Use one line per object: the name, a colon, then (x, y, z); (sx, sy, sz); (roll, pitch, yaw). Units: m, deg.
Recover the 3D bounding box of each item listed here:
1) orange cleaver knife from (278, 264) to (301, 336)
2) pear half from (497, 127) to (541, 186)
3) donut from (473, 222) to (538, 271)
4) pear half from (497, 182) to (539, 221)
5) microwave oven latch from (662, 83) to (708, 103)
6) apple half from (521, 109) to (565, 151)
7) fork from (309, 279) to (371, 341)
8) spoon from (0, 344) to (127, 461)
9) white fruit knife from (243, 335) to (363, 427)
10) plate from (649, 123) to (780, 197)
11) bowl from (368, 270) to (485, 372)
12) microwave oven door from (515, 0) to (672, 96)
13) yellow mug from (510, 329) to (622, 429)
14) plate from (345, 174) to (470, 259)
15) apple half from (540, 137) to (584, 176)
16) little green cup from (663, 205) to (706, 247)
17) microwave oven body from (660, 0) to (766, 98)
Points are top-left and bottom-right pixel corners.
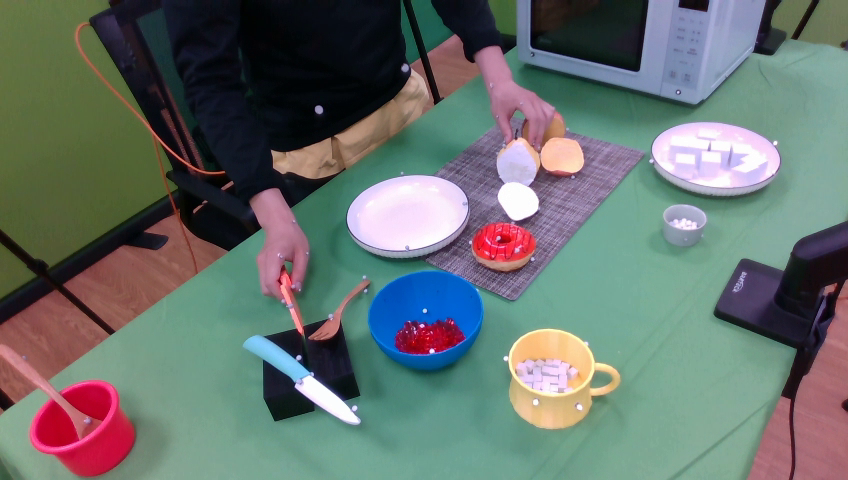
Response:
orange cleaver knife: (-0.188, 0.080, 0.846); (0.012, 0.077, 0.210); (-20, 14, -11)
pear half: (0.167, -0.152, 1.054); (0.076, 0.110, 0.056); (6, 39, 14)
donut: (0.123, 0.008, 0.923); (0.099, 0.048, 0.098); (-3, 38, 3)
pear half: (0.154, -0.057, 1.005); (0.070, 0.031, 0.088); (14, 52, 5)
microwave oven latch: (0.518, -0.296, 1.204); (0.078, 0.029, 0.030); (28, 52, 35)
apple half: (0.224, -0.212, 1.145); (0.080, 0.075, 0.053); (-5, 36, 9)
fork: (-0.109, 0.093, 0.832); (0.028, 0.018, 0.207); (-4, 19, 15)
spoon: (-0.433, 0.190, 0.720); (0.194, 0.021, 0.042); (47, 53, -6)
white fruit knife: (-0.148, 0.167, 0.729); (0.206, 0.016, 0.027); (27, 80, 31)
plate: (0.497, -0.135, 1.046); (0.207, 0.039, 0.206); (-4, 40, 4)
bowl: (0.007, 0.118, 0.791); (0.151, 0.077, 0.150); (-5, 40, 4)
microwave oven door: (0.343, -0.454, 1.259); (0.353, 0.245, 0.039); (26, 51, 33)
yellow mug: (0.168, 0.164, 0.721); (0.130, 0.064, 0.099); (0, 40, 8)
plate: (-0.026, -0.037, 1.004); (0.209, 0.038, 0.208); (-4, 40, 4)
apple half: (0.247, -0.146, 1.089); (0.081, 0.033, 0.081); (-1, 65, 4)
little green cup: (0.396, -0.021, 0.926); (0.061, 0.039, 0.061); (-4, 40, 4)
microwave oven body: (0.472, -0.513, 1.317); (0.438, 0.261, 0.327); (26, 51, 34)
